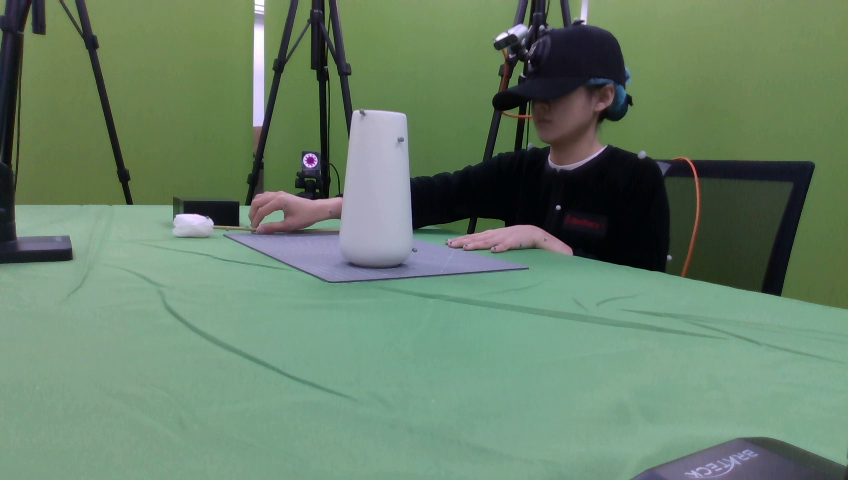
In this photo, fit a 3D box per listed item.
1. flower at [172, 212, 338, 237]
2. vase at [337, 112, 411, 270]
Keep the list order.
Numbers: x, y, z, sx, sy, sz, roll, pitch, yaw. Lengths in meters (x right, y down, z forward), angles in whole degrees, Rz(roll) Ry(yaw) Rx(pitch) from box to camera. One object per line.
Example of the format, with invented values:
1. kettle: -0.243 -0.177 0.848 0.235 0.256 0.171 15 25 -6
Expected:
1. flower: -0.255 -0.017 1.080 0.364 0.038 0.044 4 38 -31
2. vase: -0.064 -0.064 0.790 0.098 0.200 0.098 2 7 0
